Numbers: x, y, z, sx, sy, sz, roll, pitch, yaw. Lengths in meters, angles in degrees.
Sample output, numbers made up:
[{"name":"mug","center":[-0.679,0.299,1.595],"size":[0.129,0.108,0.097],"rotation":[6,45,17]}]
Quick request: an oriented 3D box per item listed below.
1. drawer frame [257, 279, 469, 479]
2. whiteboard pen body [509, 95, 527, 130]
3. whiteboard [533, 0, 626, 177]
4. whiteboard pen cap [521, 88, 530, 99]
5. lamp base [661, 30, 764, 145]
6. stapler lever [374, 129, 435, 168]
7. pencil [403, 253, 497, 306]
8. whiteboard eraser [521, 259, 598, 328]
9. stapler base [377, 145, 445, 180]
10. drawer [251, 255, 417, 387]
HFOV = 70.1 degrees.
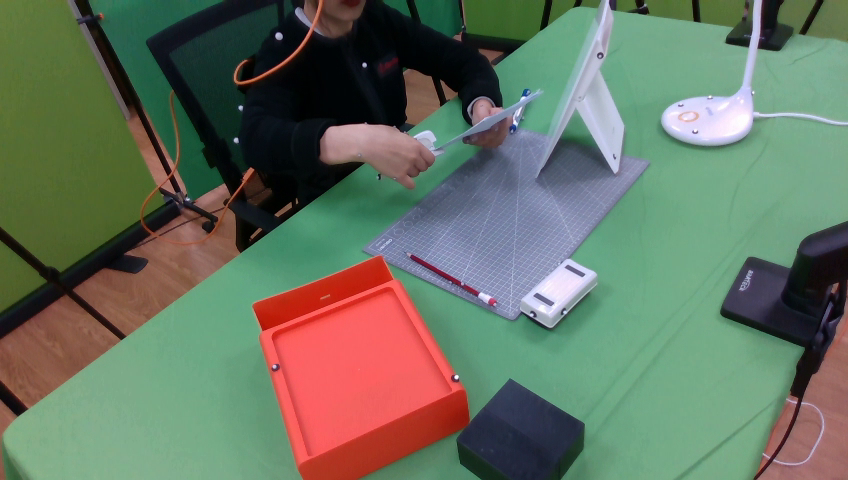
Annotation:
[{"name":"drawer frame","center":[-0.080,0.169,0.751],"size":[0.202,0.083,0.211],"rotation":[-21,42,-15]},{"name":"whiteboard pen body","center":[0.199,-0.273,1.261],"size":[0.017,0.017,0.140],"rotation":[8,45,19]},{"name":"whiteboard","center":[0.321,-0.258,1.050],"size":[0.144,0.306,0.217],"rotation":[21,45,5]},{"name":"whiteboard pen cap","center":[0.219,-0.312,1.301],"size":[0.018,0.018,0.033],"rotation":[6,47,17]},{"name":"lamp base","center":[0.535,-0.287,1.096],"size":[0.179,0.181,0.159],"rotation":[-10,40,-4]},{"name":"stapler lever","center":[-0.033,-0.155,1.017],"size":[0.119,0.040,0.026],"rotation":[-22,2,-28]},{"name":"pencil","center":[0.034,0.056,0.914],"size":[0.192,0.012,0.012],"rotation":[27,52,38]},{"name":"whiteboard eraser","center":[0.189,0.076,0.843],"size":[0.055,0.042,0.113],"rotation":[29,53,37]},{"name":"stapler base","center":[-0.024,-0.138,1.020],"size":[0.131,0.024,0.041],"rotation":[-29,5,-27]},{"name":"drawer","center":[-0.106,0.135,0.798],"size":[0.195,0.073,0.210],"rotation":[-20,42,-14]}]
